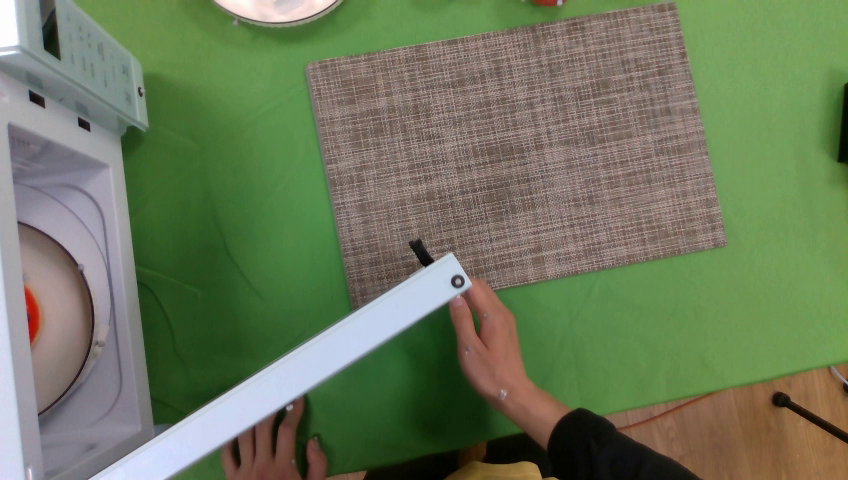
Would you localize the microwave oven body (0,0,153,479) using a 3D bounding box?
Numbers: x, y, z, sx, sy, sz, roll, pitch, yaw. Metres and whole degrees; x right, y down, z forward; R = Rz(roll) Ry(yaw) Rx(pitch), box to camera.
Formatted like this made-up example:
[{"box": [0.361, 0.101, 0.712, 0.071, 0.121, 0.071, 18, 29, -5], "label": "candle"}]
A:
[{"box": [-0.443, 0.017, 0.549, 0.326, 0.260, 0.441, -8, 88, -4], "label": "microwave oven body"}]

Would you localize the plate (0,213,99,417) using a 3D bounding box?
[{"box": [-0.426, 0.077, 0.599, 0.209, 0.038, 0.209, 0, 88, -4], "label": "plate"}]

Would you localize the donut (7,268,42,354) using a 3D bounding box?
[{"box": [-0.424, 0.073, 0.586, 0.099, 0.048, 0.099, 0, 85, -2], "label": "donut"}]

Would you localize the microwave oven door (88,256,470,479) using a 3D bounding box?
[{"box": [-0.125, 0.118, 0.557, 0.356, 0.244, 0.039, -32, 88, -4], "label": "microwave oven door"}]

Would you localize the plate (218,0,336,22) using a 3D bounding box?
[{"box": [-0.169, -0.349, 0.695, 0.208, 0.039, 0.207, 0, 87, -3], "label": "plate"}]

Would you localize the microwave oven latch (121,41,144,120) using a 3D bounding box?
[{"box": [-0.326, -0.173, 0.660, 0.030, 0.029, 0.079, -7, 88, -4], "label": "microwave oven latch"}]
